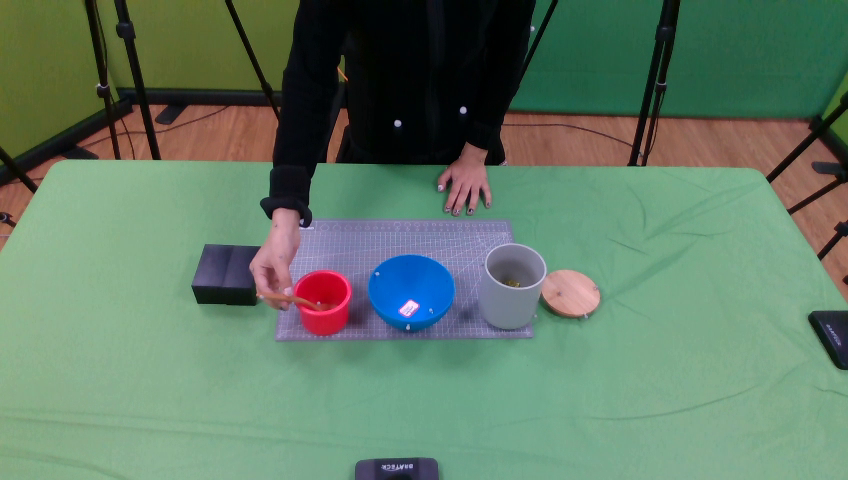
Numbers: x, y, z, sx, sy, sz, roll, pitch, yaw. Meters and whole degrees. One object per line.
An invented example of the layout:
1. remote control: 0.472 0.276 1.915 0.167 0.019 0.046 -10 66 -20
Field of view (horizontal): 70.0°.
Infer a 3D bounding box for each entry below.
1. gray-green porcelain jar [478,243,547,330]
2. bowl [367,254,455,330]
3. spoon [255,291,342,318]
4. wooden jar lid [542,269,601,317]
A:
1. gray-green porcelain jar: 0.150 0.085 1.049 0.106 0.127 0.105 2 46 -2
2. bowl: -0.023 0.104 1.053 0.151 0.077 0.150 2 46 -2
3. spoon: -0.200 0.101 0.986 0.041 0.195 0.021 40 96 34
4. wooden jar lid: 0.272 0.100 1.121 0.108 0.021 0.107 2 47 -2
